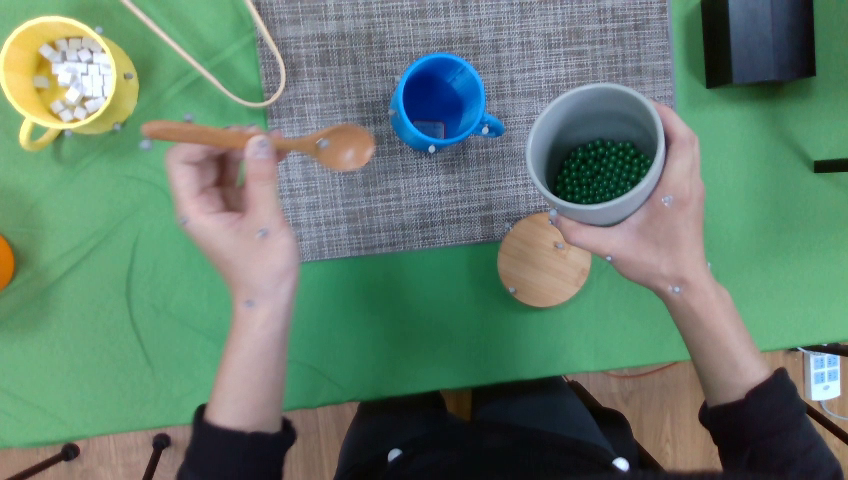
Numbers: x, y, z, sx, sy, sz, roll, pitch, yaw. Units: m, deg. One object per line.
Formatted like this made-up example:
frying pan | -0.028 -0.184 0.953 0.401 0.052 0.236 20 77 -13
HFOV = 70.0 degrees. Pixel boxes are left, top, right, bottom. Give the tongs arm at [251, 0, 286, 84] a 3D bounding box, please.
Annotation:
tongs arm | -0.229 -0.328 0.561 0.028 0.027 0.390 -33 107 -12

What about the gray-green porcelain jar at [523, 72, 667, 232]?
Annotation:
gray-green porcelain jar | 0.152 -0.067 0.522 0.105 0.127 0.105 -6 75 23

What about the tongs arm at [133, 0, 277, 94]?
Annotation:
tongs arm | -0.293 -0.275 0.556 0.051 0.026 0.387 -45 108 -4

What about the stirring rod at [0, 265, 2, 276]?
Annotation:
stirring rod | -0.474 0.025 0.533 0.006 0.177 0.014 -8 82 36

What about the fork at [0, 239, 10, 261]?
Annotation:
fork | -0.483 0.009 0.526 0.208 0.018 0.028 1 98 -52

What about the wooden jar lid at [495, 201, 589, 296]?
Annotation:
wooden jar lid | 0.132 0.009 0.682 0.108 0.020 0.108 -1 101 -7

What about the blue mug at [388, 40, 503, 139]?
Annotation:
blue mug | 0.023 -0.139 0.602 0.117 0.105 0.082 20 93 -10

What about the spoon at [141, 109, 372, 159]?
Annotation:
spoon | -0.104 -0.078 0.428 0.021 0.194 0.042 38 114 24

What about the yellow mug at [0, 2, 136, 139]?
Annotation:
yellow mug | -0.342 -0.151 0.570 0.100 0.063 0.131 33 92 -11
